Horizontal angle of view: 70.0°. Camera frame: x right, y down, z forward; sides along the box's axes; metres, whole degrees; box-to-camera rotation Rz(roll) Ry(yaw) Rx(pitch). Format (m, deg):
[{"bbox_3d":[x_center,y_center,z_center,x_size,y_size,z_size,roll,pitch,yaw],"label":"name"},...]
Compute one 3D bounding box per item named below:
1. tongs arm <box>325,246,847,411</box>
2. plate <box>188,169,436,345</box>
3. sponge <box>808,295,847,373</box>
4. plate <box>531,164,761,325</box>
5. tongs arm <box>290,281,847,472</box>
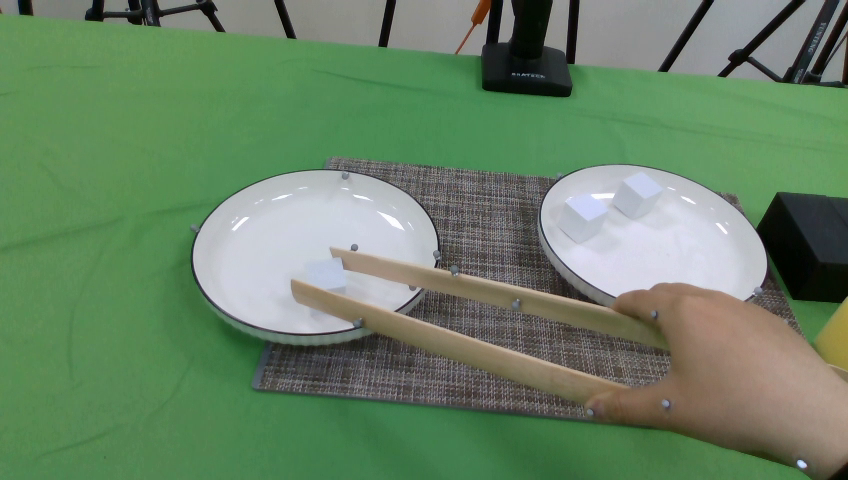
[{"bbox_3d":[0.081,0.059,0.414,0.382,0.027,0.050,11,40,25],"label":"tongs arm"},{"bbox_3d":[-0.094,0.013,0.530,0.209,0.038,0.207,3,43,-3],"label":"plate"},{"bbox_3d":[0.393,0.138,0.438,0.118,0.061,0.204,2,43,-3],"label":"sponge"},{"bbox_3d":[0.202,0.003,0.573,0.208,0.039,0.205,3,43,-3],"label":"plate"},{"bbox_3d":[0.066,0.077,0.393,0.385,0.028,0.028,12,37,26],"label":"tongs arm"}]
